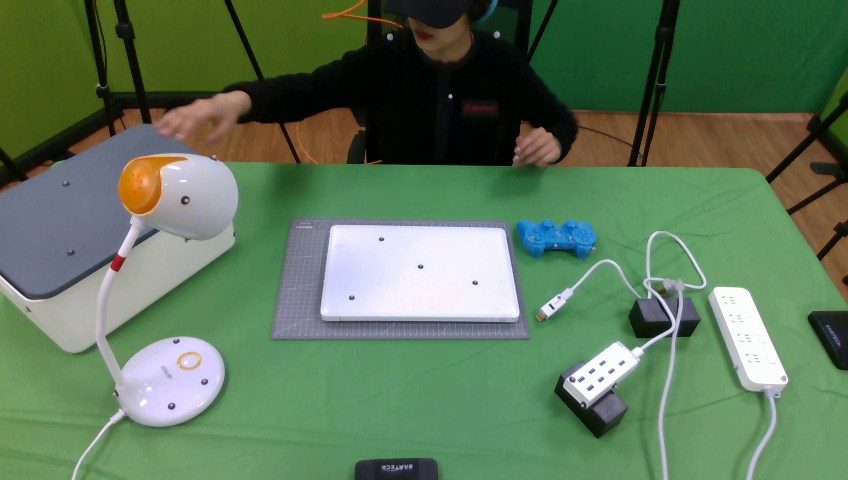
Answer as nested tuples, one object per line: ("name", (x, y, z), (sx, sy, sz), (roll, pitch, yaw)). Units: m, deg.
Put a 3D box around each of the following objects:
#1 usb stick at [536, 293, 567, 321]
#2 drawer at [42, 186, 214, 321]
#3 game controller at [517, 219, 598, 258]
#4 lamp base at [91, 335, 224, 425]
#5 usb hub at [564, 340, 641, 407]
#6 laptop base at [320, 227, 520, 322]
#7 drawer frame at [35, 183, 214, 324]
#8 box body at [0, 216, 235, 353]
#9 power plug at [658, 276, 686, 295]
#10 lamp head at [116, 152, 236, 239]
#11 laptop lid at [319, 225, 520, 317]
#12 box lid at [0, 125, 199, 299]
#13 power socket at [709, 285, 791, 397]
("usb stick", (0.226, 0.122, 1.083), (0.059, 0.027, 0.021), (-38, 75, -8))
("drawer", (-0.529, 0.018, 1.097), (0.194, 0.073, 0.211), (29, 53, 20))
("game controller", (0.269, -0.012, 1.210), (0.155, 0.052, 0.096), (1, 50, -2))
("lamp base", (-0.401, 0.171, 0.892), (0.160, 0.181, 0.179), (30, 53, 23))
("usb hub", (0.278, 0.205, 0.944), (0.125, 0.025, 0.049), (-27, 52, -28))
("laptop base", (-0.008, 0.062, 1.138), (0.354, 0.023, 0.234), (0, 42, -3))
("drawer frame", (-0.531, 0.018, 1.092), (0.201, 0.083, 0.213), (29, 52, 21))
("box body", (-0.550, -0.006, 1.068), (0.253, 0.161, 0.363), (30, 51, 23))
("power plug", (0.450, 0.087, 1.113), (0.073, 0.052, 0.035), (-12, 71, -55))
("lamp head", (-0.315, -0.057, 0.748), (0.112, 0.112, 0.123), (26, 10, 20))
("laptop lid", (-0.008, 0.052, 1.131), (0.357, 0.013, 0.240), (2, 44, -2))
("box lid", (-0.540, -0.068, 1.016), (0.262, 0.015, 0.371), (30, 51, 23))
("power socket", (0.568, 0.167, 1.064), (0.072, 0.033, 0.225), (2, 46, 0))
